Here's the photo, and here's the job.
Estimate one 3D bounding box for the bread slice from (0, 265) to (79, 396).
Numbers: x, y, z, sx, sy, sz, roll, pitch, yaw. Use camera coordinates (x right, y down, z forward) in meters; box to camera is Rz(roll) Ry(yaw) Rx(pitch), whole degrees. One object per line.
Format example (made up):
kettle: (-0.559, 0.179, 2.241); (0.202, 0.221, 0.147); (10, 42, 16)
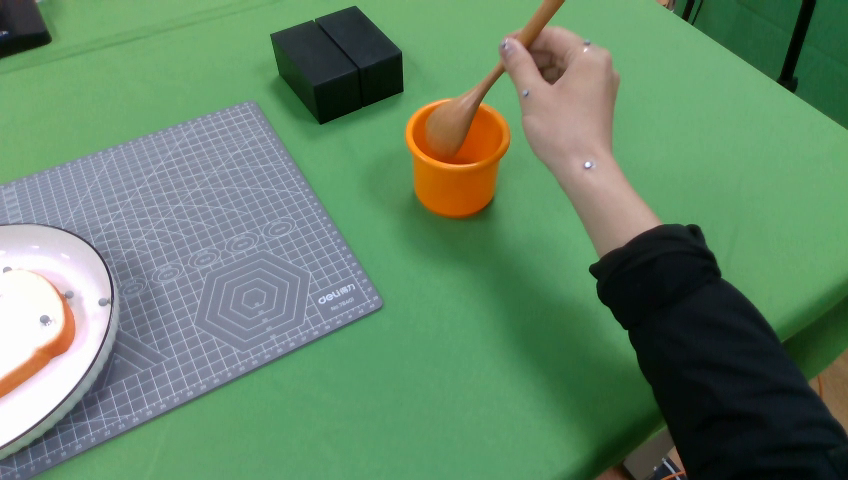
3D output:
bread slice: (-0.335, 0.074, 0.456); (0.131, 0.019, 0.104); (-39, 63, -24)

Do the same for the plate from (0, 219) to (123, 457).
plate: (-0.330, 0.075, 0.452); (0.209, 0.038, 0.207); (1, 53, -1)

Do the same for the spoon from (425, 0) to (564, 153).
spoon: (0.058, -0.138, 0.470); (0.041, 0.194, 0.022); (52, 35, 12)
